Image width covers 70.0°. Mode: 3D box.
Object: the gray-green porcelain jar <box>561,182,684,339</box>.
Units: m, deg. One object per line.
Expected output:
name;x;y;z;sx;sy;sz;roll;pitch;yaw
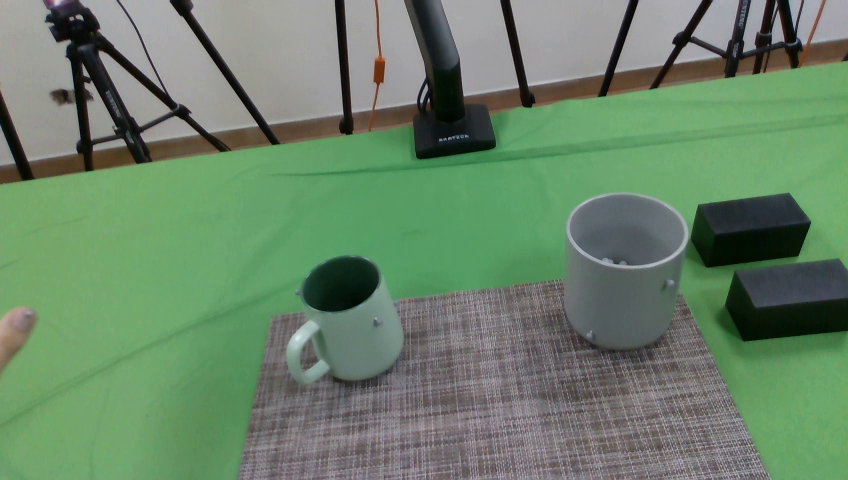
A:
gray-green porcelain jar;0.186;0.025;0.585;0.106;0.128;0.105;-6;43;6

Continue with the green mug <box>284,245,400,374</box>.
green mug;-0.085;0.079;0.595;0.092;0.106;0.125;24;53;31
